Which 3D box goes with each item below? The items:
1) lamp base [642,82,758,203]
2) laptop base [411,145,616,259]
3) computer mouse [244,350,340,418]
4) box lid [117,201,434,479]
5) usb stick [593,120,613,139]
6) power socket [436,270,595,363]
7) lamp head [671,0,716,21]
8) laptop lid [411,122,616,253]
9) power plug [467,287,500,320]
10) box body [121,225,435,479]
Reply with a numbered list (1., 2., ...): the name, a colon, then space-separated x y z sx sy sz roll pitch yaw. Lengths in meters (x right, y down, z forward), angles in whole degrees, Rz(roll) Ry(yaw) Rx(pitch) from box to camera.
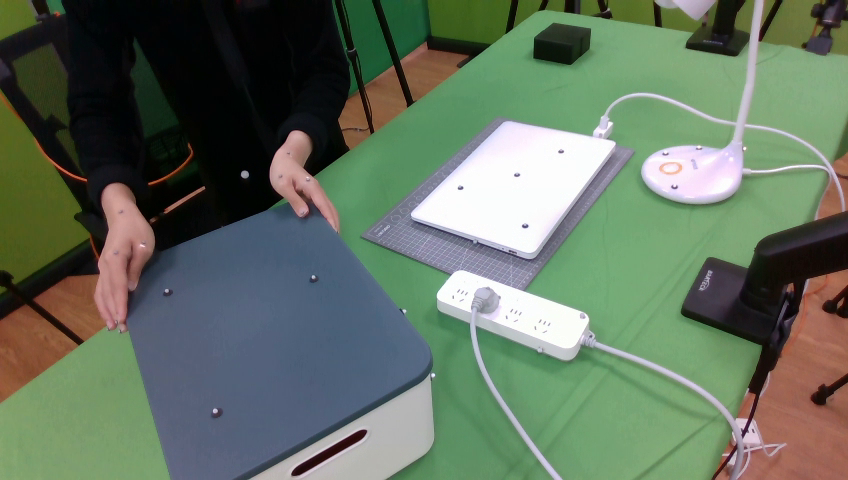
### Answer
1. lamp base: 0.464 -0.174 0.992 0.179 0.181 0.159 -5 41 -1
2. laptop base: 0.168 -0.101 1.073 0.234 0.023 0.355 17 46 30
3. computer mouse: -0.165 0.173 0.754 0.118 0.041 0.062 -18 34 -18
4. box lid: -0.182 0.087 0.675 0.264 0.015 0.368 -25 42 -20
5. usb stick: 0.336 -0.201 1.146 0.021 0.027 0.059 25 52 27
6. power socket: 0.118 0.101 0.832 0.225 0.033 0.072 19 48 27
7. lamp head: 0.375 -0.373 0.807 0.122 0.113 0.112 -40 27 32
8. laptop lid: 0.165 -0.111 1.067 0.240 0.013 0.357 19 46 31
9. power plug: 0.073 0.092 0.813 0.035 0.053 0.073 29 53 34
10. box body: -0.175 0.142 0.724 0.255 0.161 0.360 -25 43 -20
